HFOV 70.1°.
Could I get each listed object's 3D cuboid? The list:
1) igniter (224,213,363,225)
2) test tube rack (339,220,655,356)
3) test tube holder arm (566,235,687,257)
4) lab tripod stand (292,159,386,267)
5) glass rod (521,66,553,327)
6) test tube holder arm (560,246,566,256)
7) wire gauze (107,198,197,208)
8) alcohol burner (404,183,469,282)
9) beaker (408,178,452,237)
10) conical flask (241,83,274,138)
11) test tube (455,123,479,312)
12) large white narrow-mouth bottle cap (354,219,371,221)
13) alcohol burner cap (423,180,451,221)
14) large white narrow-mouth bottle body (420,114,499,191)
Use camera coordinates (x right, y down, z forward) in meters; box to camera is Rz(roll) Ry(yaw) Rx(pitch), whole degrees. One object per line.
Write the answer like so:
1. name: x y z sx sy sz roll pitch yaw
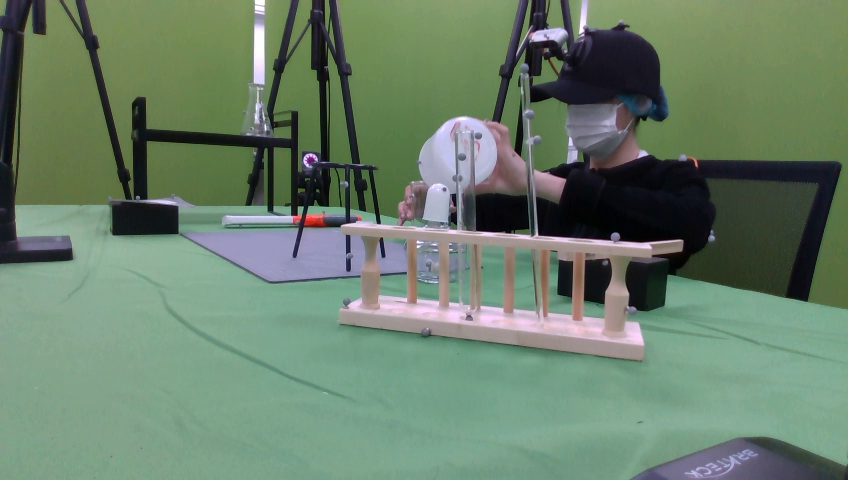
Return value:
1. igniter: -0.255 -0.041 1.210 0.278 0.025 0.057 -2 -2 -31
2. test tube rack: 0.056 0.032 0.495 0.242 0.085 0.067 4 7 15
3. test tube holder arm: 0.215 0.006 0.629 0.179 0.015 0.013 -3 9 -30
4. lab tripod stand: -0.105 -0.039 0.798 0.148 0.131 0.148 2 5 0
5. glass rod: 0.085 -0.028 0.454 0.008 0.199 0.008 -7 10 2
6. test tube holder arm: 0.173 0.007 0.611 0.088 0.015 0.010 -3 9 -30
7. wire gauze: -0.462 -0.064 1.023 0.126 0.011 0.121 -2 7 -32
8. alcohol burner: 0.015 -0.011 0.715 0.078 0.119 0.078 0 7 0
9. beaker: 0.016 -0.058 1.059 0.083 0.100 0.074 7 13 42
10. conical flask: -0.384 -0.297 1.393 0.075 0.122 0.075 2 7 0
11. test tube: 0.034 -0.016 0.476 0.017 0.150 0.017 -2 10 1
12. large white narrow-mouth bottle cap: -0.120 -0.029 1.184 0.038 0.024 0.037 2 8 0
13. alcohol burner cap: 0.017 -0.047 0.711 0.034 0.048 0.034 8 5 0
14. large white narrow-mouth bottle body: 0.045 -0.130 0.962 0.102 0.101 0.194 0 -2 -12
